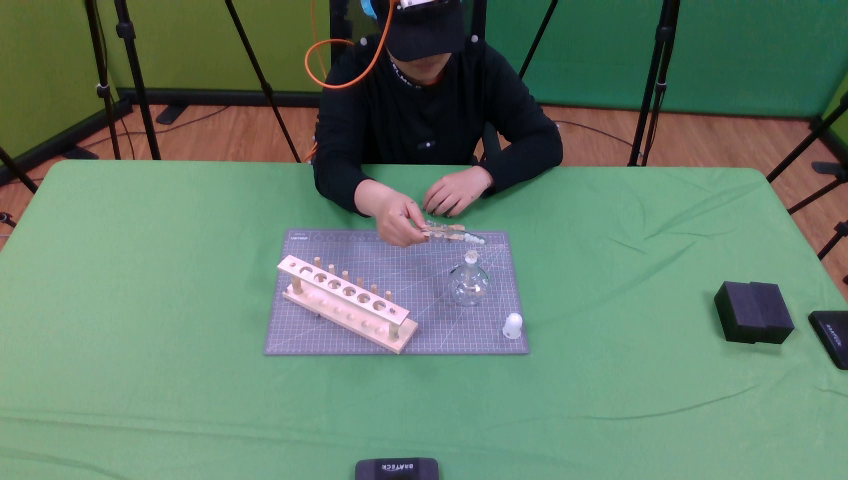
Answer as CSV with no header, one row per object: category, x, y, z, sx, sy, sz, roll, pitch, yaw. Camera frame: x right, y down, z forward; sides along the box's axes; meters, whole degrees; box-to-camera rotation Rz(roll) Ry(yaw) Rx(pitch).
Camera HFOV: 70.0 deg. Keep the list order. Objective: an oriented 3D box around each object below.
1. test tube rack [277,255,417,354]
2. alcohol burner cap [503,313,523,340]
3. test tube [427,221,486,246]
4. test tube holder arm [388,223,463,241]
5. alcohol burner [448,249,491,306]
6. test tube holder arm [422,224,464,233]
test tube rack,-0.131,0.099,1.045,0.241,0.085,0.066,23,49,17
alcohol burner cap,0.156,0.148,1.051,0.034,0.048,0.033,1,45,-1
test tube,0.056,-0.009,0.977,0.151,0.017,0.017,16,27,-50
test tube holder arm,-0.002,-0.014,1.011,0.015,0.013,0.177,11,-2,-42
alcohol burner,0.081,0.062,1.078,0.078,0.120,0.077,1,45,-1
test tube holder arm,0.029,-0.018,0.978,0.015,0.010,0.087,10,-9,-42
